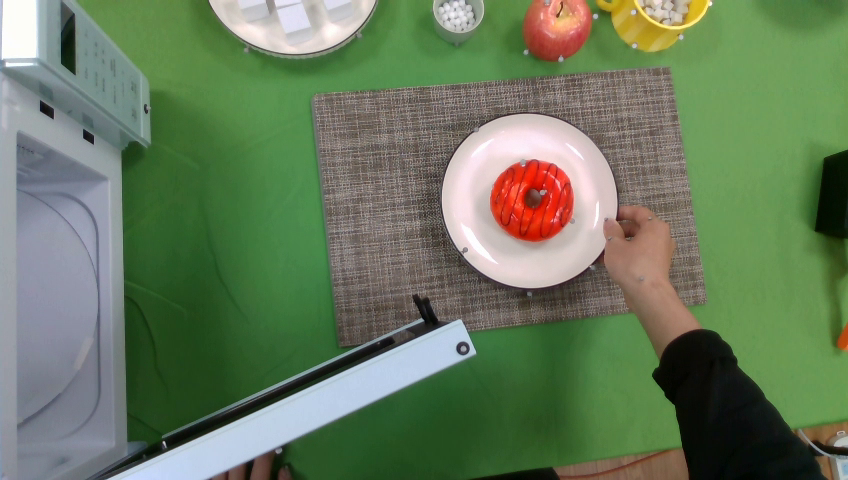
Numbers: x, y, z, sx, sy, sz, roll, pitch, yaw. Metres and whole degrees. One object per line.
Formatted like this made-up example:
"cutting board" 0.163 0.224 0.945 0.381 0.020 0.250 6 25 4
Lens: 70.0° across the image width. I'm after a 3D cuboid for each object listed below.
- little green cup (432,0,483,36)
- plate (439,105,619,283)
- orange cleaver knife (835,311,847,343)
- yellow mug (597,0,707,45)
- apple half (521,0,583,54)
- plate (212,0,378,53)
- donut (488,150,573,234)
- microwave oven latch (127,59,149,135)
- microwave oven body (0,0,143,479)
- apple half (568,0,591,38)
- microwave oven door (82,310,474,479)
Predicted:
"little green cup" 0.039 -0.279 0.733 0.061 0.038 0.061 1 84 -5
"plate" 0.121 -0.053 0.711 0.209 0.038 0.208 0 85 -1
"orange cleaver knife" 0.544 0.024 0.727 0.012 0.076 0.212 13 115 -2
"yellow mug" 0.273 -0.302 0.743 0.131 0.064 0.099 5 83 -4
"apple half" 0.145 -0.257 0.724 0.053 0.074 0.081 -33 92 -3
"plate" -0.151 -0.319 0.718 0.208 0.039 0.207 1 84 -5
"donut" 0.123 -0.055 0.700 0.099 0.048 0.099 0 87 0
"microwave oven latch" -0.321 -0.158 0.668 0.030 0.029 0.079 -2 86 -6
"microwave oven body" -0.448 0.017 0.544 0.326 0.260 0.440 -3 86 -6
"apple half" 0.178 -0.278 0.727 0.033 0.081 0.081 -33 88 -3
"microwave oven door" -0.135 0.152 0.556 0.356 0.244 0.039 -24 86 -7
